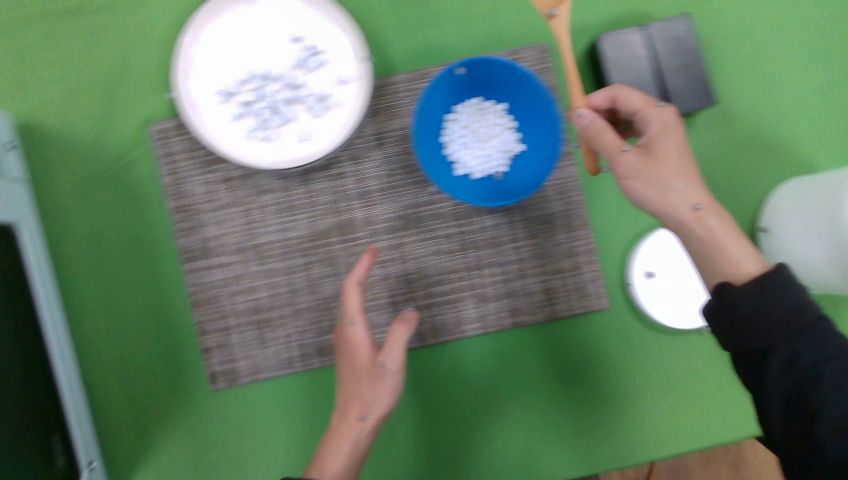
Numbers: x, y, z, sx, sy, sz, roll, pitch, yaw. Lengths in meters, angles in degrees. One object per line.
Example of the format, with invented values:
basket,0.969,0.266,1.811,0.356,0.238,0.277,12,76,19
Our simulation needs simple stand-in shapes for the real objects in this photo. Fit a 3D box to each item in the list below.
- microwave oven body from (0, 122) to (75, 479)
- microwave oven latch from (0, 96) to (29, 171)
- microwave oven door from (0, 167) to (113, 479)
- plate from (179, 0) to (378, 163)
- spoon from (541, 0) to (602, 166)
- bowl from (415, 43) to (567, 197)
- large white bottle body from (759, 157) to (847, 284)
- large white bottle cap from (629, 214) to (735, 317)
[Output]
microwave oven body,-0.540,0.096,0.530,0.326,0.260,0.441,-14,90,-2
microwave oven latch,-0.439,-0.110,0.629,0.030,0.029,0.079,-14,91,-2
microwave oven door,-0.387,0.101,0.528,0.039,0.244,0.355,-14,90,-1
plate,-0.152,-0.182,0.649,0.209,0.038,0.208,0,87,-1
spoon,0.118,-0.154,0.493,0.041,0.021,0.194,-15,98,5
bowl,0.066,-0.116,0.632,0.151,0.077,0.151,0,90,-1
large white bottle body,0.436,-0.020,0.589,0.130,0.184,0.130,0,89,-1
large white bottle cap,0.285,0.028,0.670,0.115,0.018,0.114,0,90,-2
